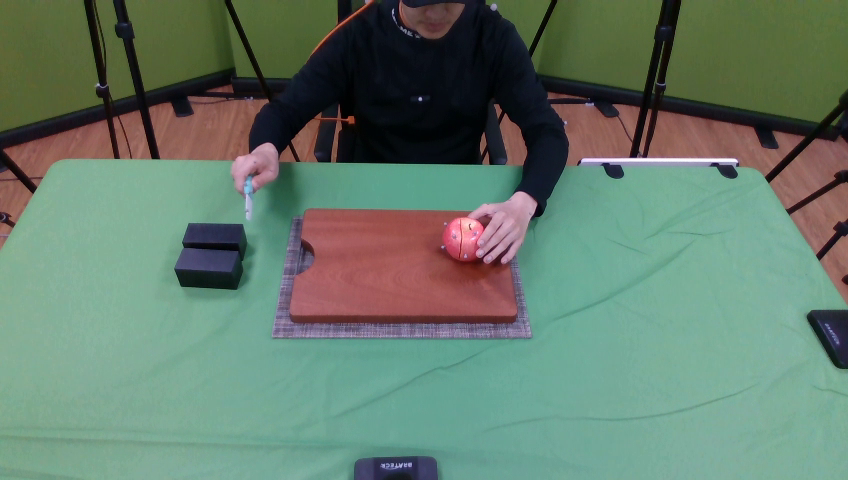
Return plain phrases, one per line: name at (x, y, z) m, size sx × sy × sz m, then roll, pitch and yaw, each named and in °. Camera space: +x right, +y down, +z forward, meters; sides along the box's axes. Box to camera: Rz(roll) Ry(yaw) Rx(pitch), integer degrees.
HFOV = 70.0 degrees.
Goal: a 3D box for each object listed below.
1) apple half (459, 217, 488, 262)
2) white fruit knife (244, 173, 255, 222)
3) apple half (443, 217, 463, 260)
apple half at (0.091, 0.001, 1.126) m, size 0.053 × 0.075 × 0.080 m, roll 2°, pitch 42°, yaw -6°
white fruit knife at (-0.312, -0.079, 1.086) m, size 0.016 × 0.027 × 0.206 m, roll -23°, pitch 30°, yaw -4°
apple half at (0.051, -0.001, 1.123) m, size 0.033 × 0.081 × 0.081 m, roll 2°, pitch 46°, yaw -4°
